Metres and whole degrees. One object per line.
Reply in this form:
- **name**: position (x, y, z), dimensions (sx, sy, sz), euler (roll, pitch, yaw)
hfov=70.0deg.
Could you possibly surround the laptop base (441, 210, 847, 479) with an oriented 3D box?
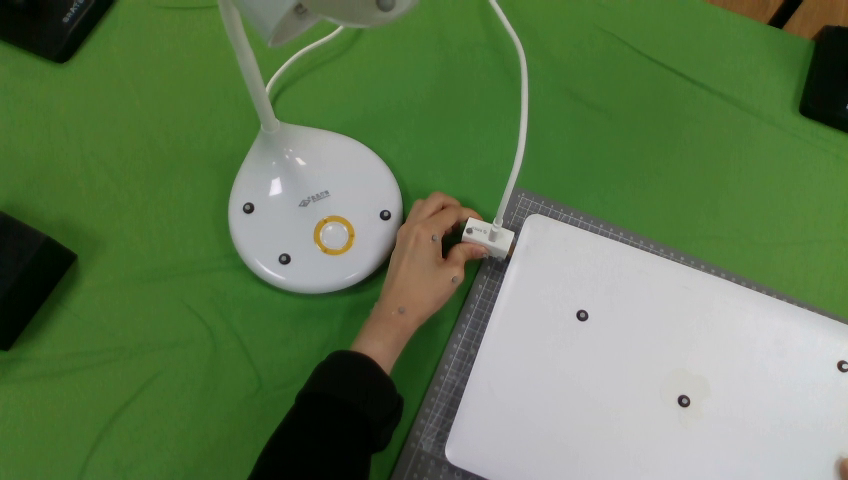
- **laptop base**: position (0.216, 0.134, 0.526), dimensions (0.354, 0.023, 0.234), euler (20, 75, 4)

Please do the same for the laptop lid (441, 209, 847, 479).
- **laptop lid**: position (0.215, 0.132, 0.514), dimensions (0.356, 0.013, 0.240), euler (22, 74, 5)

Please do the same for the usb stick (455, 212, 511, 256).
- **usb stick**: position (0.060, -0.003, 0.551), dimensions (0.059, 0.027, 0.021), euler (22, 67, 0)

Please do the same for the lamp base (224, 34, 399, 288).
- **lamp base**: position (-0.109, -0.068, 0.495), dimensions (0.160, 0.181, 0.178), euler (-37, 73, -14)

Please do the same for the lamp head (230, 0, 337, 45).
- **lamp head**: position (-0.053, -0.147, 0.204), dimensions (0.123, 0.112, 0.112), euler (47, 74, -12)
